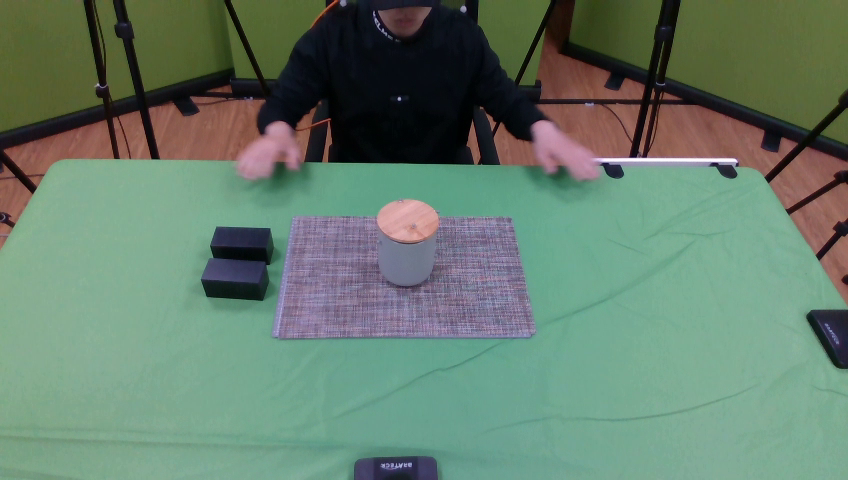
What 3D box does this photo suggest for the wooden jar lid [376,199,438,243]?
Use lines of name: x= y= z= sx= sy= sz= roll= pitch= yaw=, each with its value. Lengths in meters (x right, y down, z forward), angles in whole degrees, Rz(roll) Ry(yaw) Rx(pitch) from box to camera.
wooden jar lid: x=-0.029 y=-0.030 z=1.059 sx=0.108 sy=0.021 sz=0.107 roll=2 pitch=43 yaw=-2

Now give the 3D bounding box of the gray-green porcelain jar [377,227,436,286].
gray-green porcelain jar: x=-0.033 y=0.014 z=1.106 sx=0.106 sy=0.127 sz=0.105 roll=2 pitch=46 yaw=-2
